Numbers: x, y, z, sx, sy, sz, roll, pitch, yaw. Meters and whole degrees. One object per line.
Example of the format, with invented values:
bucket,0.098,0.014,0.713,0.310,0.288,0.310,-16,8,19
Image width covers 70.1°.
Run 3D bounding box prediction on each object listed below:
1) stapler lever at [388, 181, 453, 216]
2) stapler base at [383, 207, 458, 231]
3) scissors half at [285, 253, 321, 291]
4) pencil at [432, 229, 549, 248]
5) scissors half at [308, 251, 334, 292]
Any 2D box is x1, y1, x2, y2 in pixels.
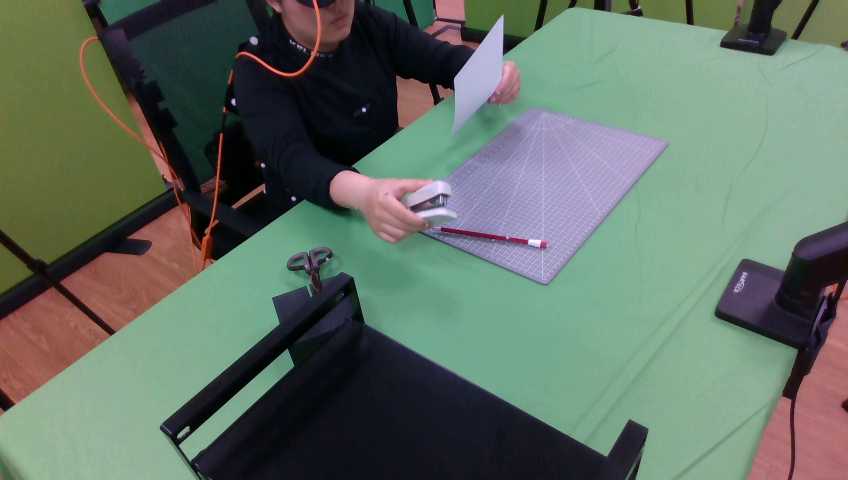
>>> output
stapler lever,-0.006,-0.060,0.922,0.117,0.027,0.040,-10,69,43
stapler base,-0.005,-0.037,0.916,0.129,0.042,0.024,-12,68,42
scissors half,-0.178,0.049,0.909,0.040,0.013,0.174,-15,19,-20
pencil,0.103,-0.005,0.970,0.193,0.012,0.012,8,42,18
scissors half,-0.159,0.046,0.913,0.040,0.013,0.174,-4,17,-4
